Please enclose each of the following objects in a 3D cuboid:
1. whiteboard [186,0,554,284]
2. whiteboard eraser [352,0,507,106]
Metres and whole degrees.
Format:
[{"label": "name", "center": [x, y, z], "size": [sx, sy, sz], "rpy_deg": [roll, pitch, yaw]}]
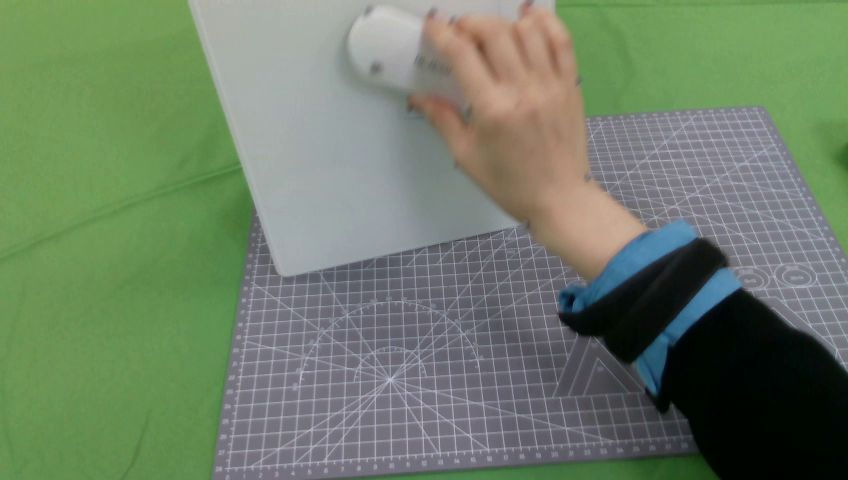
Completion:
[{"label": "whiteboard", "center": [-0.034, -0.152, 0.429], "size": [0.217, 0.308, 0.142], "rpy_deg": [-12, 35, -6]}, {"label": "whiteboard eraser", "center": [0.005, -0.114, 0.373], "size": [0.102, 0.041, 0.018], "rpy_deg": [15, 28, -23]}]
